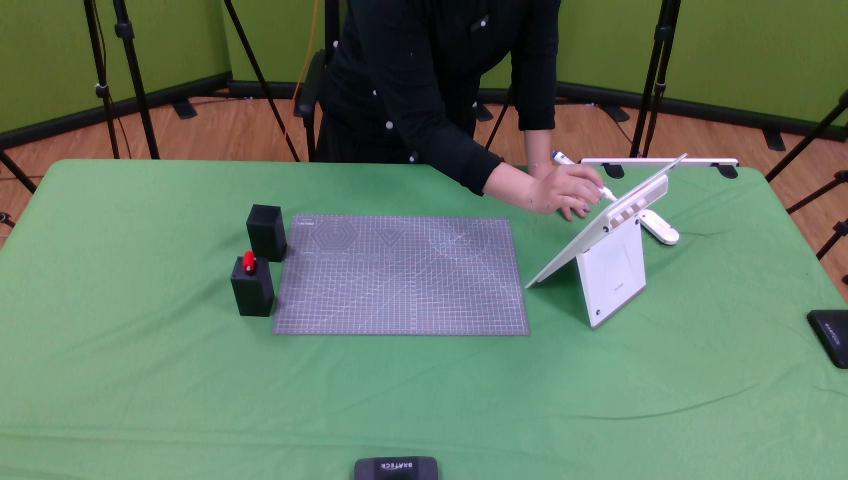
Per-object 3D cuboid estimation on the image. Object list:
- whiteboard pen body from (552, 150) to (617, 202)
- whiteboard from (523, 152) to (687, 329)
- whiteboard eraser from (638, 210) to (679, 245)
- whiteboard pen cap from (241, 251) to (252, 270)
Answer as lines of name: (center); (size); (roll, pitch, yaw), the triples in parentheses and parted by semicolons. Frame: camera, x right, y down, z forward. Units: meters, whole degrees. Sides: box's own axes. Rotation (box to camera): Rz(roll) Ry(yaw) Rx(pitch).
whiteboard pen body: (0.271, -0.104, 1.013); (0.140, 0.017, 0.017); (41, 55, 12)
whiteboard: (0.347, 0.025, 1.046); (0.217, 0.306, 0.143); (-30, 74, -29)
whiteboard eraser: (0.486, -0.026, 1.260); (0.041, 0.019, 0.100); (-21, 50, -20)
whiteboard pen cap: (-0.293, 0.033, 1.006); (0.017, 0.017, 0.032); (-3, 44, -7)
